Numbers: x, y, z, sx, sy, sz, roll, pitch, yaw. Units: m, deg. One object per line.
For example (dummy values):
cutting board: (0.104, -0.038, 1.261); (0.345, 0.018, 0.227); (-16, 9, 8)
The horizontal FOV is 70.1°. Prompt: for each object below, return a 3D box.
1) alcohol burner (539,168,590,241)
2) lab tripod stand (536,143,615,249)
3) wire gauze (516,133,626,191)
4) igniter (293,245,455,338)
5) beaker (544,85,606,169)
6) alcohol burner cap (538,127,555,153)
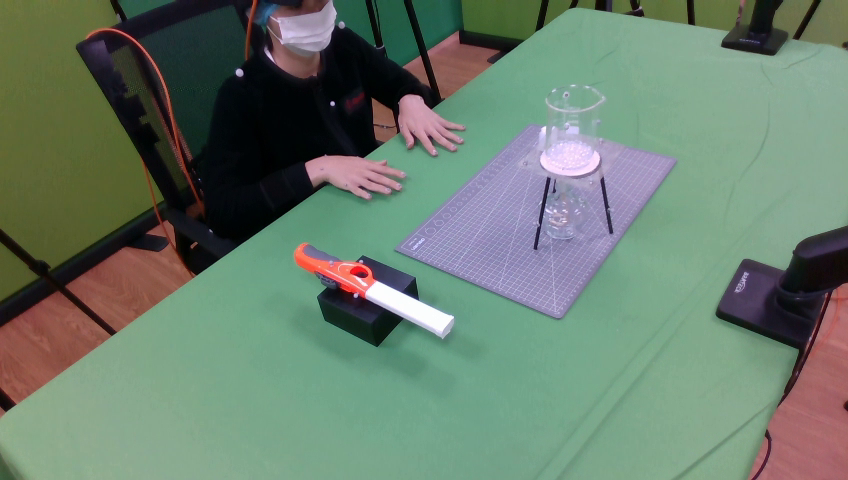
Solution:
alcohol burner: (0.217, -0.059, 0.935); (0.078, 0.119, 0.077); (-6, 40, 6)
lab tripod stand: (0.224, -0.069, 0.931); (0.148, 0.132, 0.147); (-4, 42, 4)
wire gauze: (0.217, -0.122, 0.893); (0.124, 0.011, 0.122); (20, 47, 32)
igniter: (-0.079, 0.065, 0.833); (0.274, 0.025, 0.057); (23, 48, 27)
beaker: (0.212, -0.158, 0.861); (0.084, 0.101, 0.073); (-3, 41, 6)
alcohol burner cap: (0.234, -0.191, 1.147); (0.034, 0.048, 0.033); (-5, 40, 5)
